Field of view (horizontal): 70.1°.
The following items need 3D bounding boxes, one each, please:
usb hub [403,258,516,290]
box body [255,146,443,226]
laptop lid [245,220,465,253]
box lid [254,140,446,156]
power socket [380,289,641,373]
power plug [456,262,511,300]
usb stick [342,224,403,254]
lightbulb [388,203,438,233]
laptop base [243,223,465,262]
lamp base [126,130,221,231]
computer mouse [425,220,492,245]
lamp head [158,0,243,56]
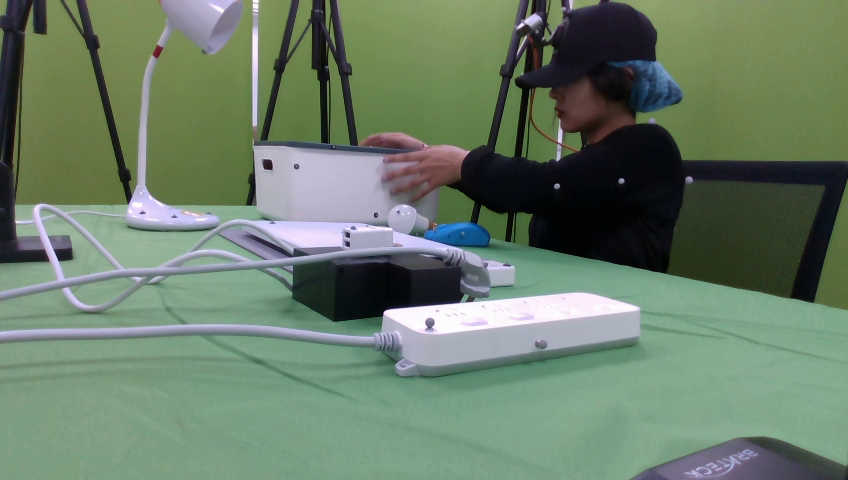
[{"bbox_3d":[0.042,0.038,0.690,0.126,0.025,0.049,-2,9,-30],"label":"usb hub"},{"bbox_3d":[-0.169,-0.120,1.343,0.366,0.160,0.253,-2,8,-31],"label":"box body"},{"bbox_3d":[-0.124,-0.009,0.945,0.243,0.013,0.355,1,7,-29],"label":"laptop lid"},{"bbox_3d":[-0.165,-0.200,1.333,0.373,0.015,0.262,-1,8,-32],"label":"box lid"},{"bbox_3d":[0.072,0.064,0.461,0.228,0.032,0.072,-2,8,-30],"label":"power socket"},{"bbox_3d":[0.052,0.051,0.543,0.035,0.052,0.072,6,37,-20],"label":"power plug"},{"bbox_3d":[-0.047,-0.001,0.567,0.059,0.027,0.021,0,5,-32],"label":"usb stick"},{"bbox_3d":[-0.018,-0.035,1.162,0.108,0.059,0.059,16,0,-28],"label":"lightbulb"},{"bbox_3d":[-0.126,0.002,0.946,0.237,0.023,0.352,2,6,-31],"label":"laptop base"},{"bbox_3d":[-0.469,-0.112,1.109,0.179,0.180,0.160,0,7,3],"label":"lamp base"},{"bbox_3d":[0.060,-0.013,1.060,0.117,0.041,0.062,-2,10,-6],"label":"computer mouse"},{"bbox_3d":[-0.399,-0.397,1.057,0.123,0.112,0.112,27,5,-7],"label":"lamp head"}]
